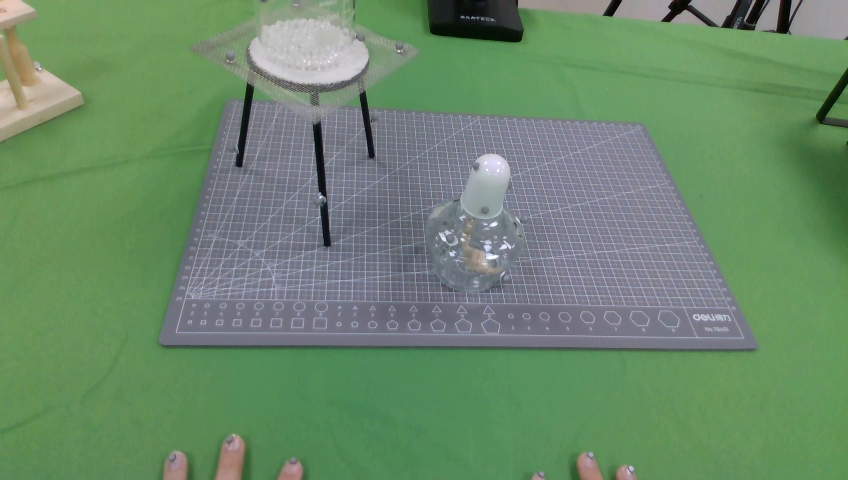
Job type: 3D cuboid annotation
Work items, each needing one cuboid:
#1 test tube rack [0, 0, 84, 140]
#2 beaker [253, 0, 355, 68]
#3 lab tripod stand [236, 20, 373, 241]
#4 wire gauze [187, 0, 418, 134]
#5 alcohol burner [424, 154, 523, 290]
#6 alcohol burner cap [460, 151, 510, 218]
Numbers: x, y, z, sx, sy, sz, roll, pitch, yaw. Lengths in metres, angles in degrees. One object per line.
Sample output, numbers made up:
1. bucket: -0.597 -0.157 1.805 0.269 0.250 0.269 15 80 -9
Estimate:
1. test tube rack: -0.420 -0.112 0.494 0.066 0.086 0.242 31 50 19
2. beaker: -0.084 -0.177 0.414 0.073 0.101 0.084 39 54 23
3. lab tripod stand: -0.091 -0.094 0.494 0.149 0.132 0.147 6 47 -6
4. wire gauze: -0.086 -0.139 0.447 0.124 0.011 0.121 34 53 16
5. alcohol burner: 0.041 -0.018 0.458 0.078 0.120 0.077 6 45 -6
6. alcohol burner cap: 0.045 -0.041 0.431 0.034 0.048 0.033 4 51 -5
